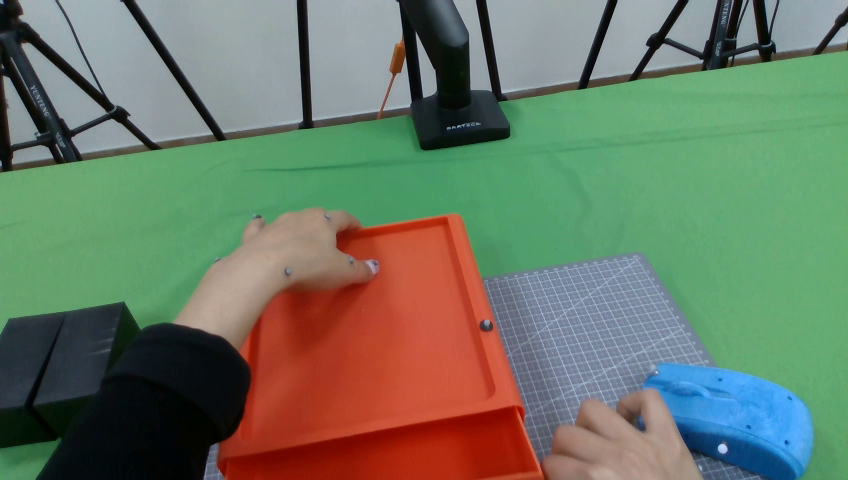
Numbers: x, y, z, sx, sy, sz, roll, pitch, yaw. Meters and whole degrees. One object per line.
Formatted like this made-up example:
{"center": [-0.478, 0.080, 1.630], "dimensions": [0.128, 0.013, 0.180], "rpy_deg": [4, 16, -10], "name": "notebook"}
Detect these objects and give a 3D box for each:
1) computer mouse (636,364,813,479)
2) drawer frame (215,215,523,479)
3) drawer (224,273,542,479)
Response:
{"center": [0.217, 0.128, 0.442], "dimensions": [0.116, 0.041, 0.062], "rpy_deg": [15, 46, 28], "name": "computer mouse"}
{"center": [-0.046, 0.086, 0.485], "dimensions": [0.202, 0.083, 0.211], "rpy_deg": [-10, 40, -4], "name": "drawer frame"}
{"center": [-0.039, 0.120, 0.444], "dimensions": [0.194, 0.074, 0.209], "rpy_deg": [-12, 40, -3], "name": "drawer"}
